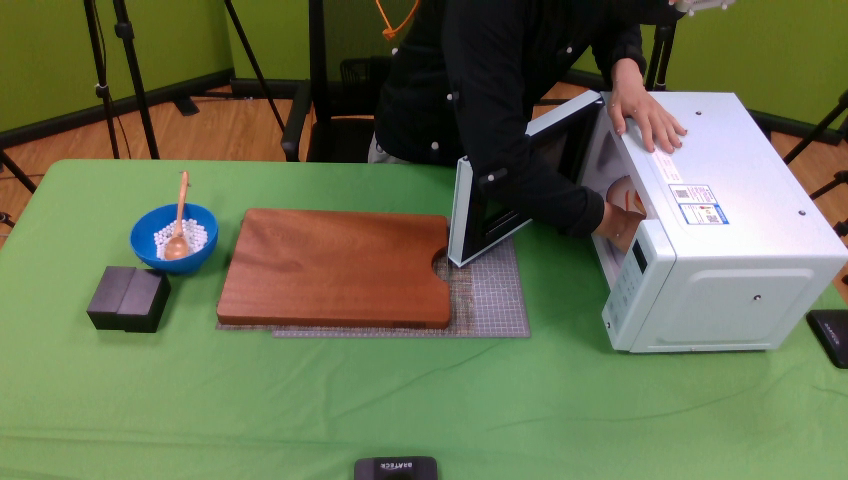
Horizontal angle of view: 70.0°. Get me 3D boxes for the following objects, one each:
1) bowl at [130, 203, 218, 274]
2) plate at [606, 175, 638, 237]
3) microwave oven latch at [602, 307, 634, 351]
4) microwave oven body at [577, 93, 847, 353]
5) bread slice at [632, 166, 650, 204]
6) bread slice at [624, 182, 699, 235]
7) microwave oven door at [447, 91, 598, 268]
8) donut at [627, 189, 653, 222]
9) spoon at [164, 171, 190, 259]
[{"bbox_3d":[-0.450,0.010,1.116,0.151,0.077,0.150,3,45,-3],"label":"bowl"},{"bbox_3d":[0.460,-0.052,1.188,0.208,0.039,0.206,2,43,-1],"label":"plate"},{"bbox_3d":[0.332,0.153,1.044,0.030,0.029,0.078,0,45,-4],"label":"microwave oven latch"},{"bbox_3d":[0.475,-0.041,1.109,0.326,0.261,0.438,-1,45,-4],"label":"microwave oven body"},{"bbox_3d":[0.458,-0.093,1.142,0.134,0.018,0.106,13,42,-6],"label":"bread slice"},{"bbox_3d":[0.473,-0.062,1.195,0.131,0.019,0.104,25,49,18],"label":"bread slice"},{"bbox_3d":[0.191,-0.120,1.157,0.356,0.245,0.039,-31,55,-30],"label":"microwave oven door"},{"bbox_3d":[0.441,-0.066,1.169,0.099,0.048,0.098,0,50,0],"label":"donut"},{"bbox_3d":[-0.452,-0.046,1.129,0.041,0.022,0.193,-1,69,-2],"label":"spoon"}]
